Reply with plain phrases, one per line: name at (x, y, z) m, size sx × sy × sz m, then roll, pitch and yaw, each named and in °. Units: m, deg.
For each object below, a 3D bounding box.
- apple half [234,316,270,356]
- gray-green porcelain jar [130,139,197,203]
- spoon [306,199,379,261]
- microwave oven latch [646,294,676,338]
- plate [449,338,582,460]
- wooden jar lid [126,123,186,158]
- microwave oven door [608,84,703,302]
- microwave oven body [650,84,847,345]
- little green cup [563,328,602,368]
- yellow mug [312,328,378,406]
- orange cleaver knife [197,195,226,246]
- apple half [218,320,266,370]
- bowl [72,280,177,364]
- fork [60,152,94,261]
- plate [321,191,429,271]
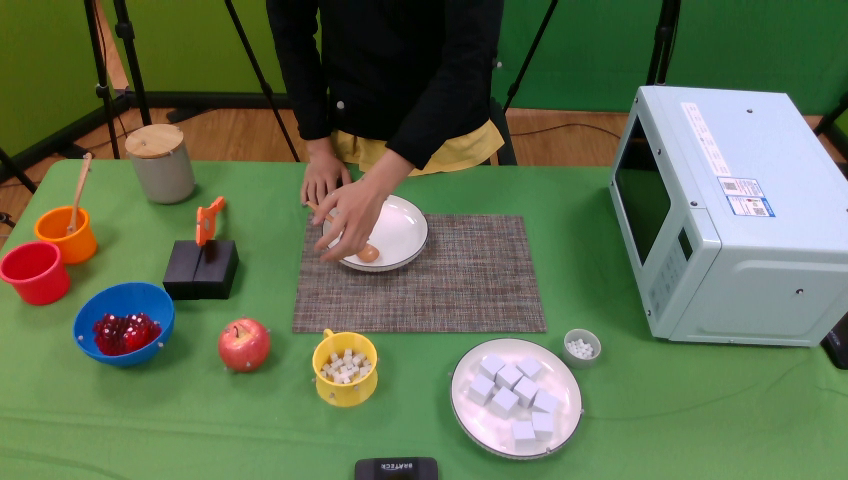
apple half at (-0.273, 0.154, 0.991) m, size 0.081 × 0.081 × 0.033 m, roll 33°, pitch 55°, yaw 25°
gray-green porcelain jar at (-0.522, -0.148, 1.224) m, size 0.106 × 0.127 × 0.105 m, roll 2°, pitch 47°, yaw -2°
spoon at (-0.160, -0.023, 1.171) m, size 0.193 × 0.022 × 0.041 m, roll 41°, pitch 61°, yaw 16°
microwave oven latch at (0.413, 0.133, 1.061) m, size 0.030 × 0.029 × 0.078 m, roll 4°, pitch 46°, yaw 1°
plate at (0.141, 0.251, 0.956) m, size 0.208 × 0.039 × 0.206 m, roll 2°, pitch 46°, yaw -2°
wooden jar lid at (-0.519, -0.190, 1.179) m, size 0.108 × 0.021 × 0.107 m, roll 2°, pitch 44°, yaw -2°
microwave oven door at (0.424, -0.096, 1.138) m, size 0.039 × 0.245 × 0.353 m, roll 2°, pitch 47°, yaw -1°
microwave oven body at (0.569, -0.054, 1.116) m, size 0.326 × 0.261 × 0.439 m, roll 2°, pitch 46°, yaw -1°
little green cup at (0.265, 0.184, 1.025) m, size 0.061 × 0.039 × 0.061 m, roll 2°, pitch 45°, yaw -2°
yellow mug at (-0.132, 0.193, 0.971) m, size 0.100 × 0.064 × 0.130 m, roll -22°, pitch 51°, yaw -22°
orange cleaver knife at (-0.404, -0.041, 1.157) m, size 0.012 × 0.077 × 0.210 m, roll 2°, pitch 14°, yaw -7°
apple half at (-0.298, 0.176, 0.971) m, size 0.080 × 0.075 × 0.053 m, roll 35°, pitch 57°, yaw 22°
bowl at (-0.473, 0.147, 0.982) m, size 0.151 × 0.077 × 0.150 m, roll 2°, pitch 46°, yaw -2°
fork at (-0.638, -0.063, 1.119) m, size 0.028 × 0.018 × 0.207 m, roll 12°, pitch 90°, yaw 9°
plate at (-0.094, -0.015, 1.185) m, size 0.209 × 0.038 × 0.208 m, roll 2°, pitch 46°, yaw -2°
